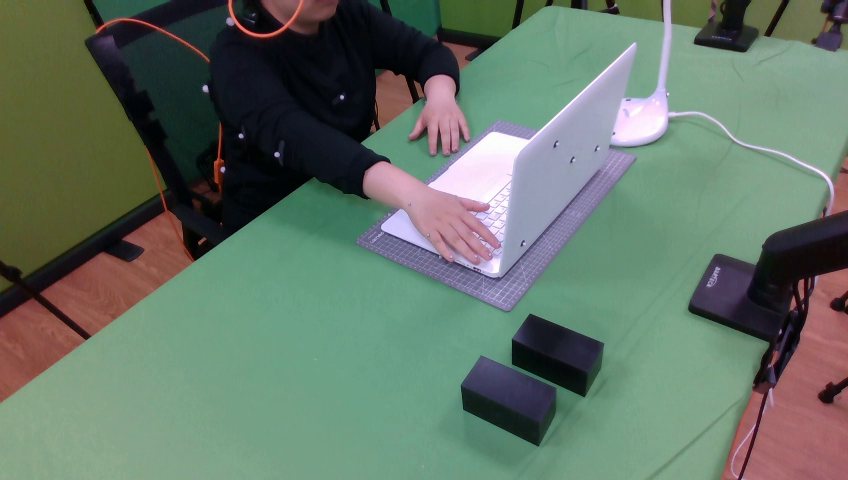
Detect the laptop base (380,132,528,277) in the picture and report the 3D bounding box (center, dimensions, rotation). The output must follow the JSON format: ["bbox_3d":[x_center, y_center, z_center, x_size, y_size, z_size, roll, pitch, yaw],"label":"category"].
[{"bbox_3d":[0.122,-0.077,1.042,0.233,0.023,0.355,20,47,33],"label":"laptop base"}]

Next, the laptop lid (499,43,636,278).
[{"bbox_3d":[0.217,-0.122,0.898,0.013,0.242,0.358,28,50,25],"label":"laptop lid"}]

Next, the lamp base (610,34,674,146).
[{"bbox_3d":[0.393,-0.291,1.129,0.180,0.181,0.159,-11,41,-8],"label":"lamp base"}]
